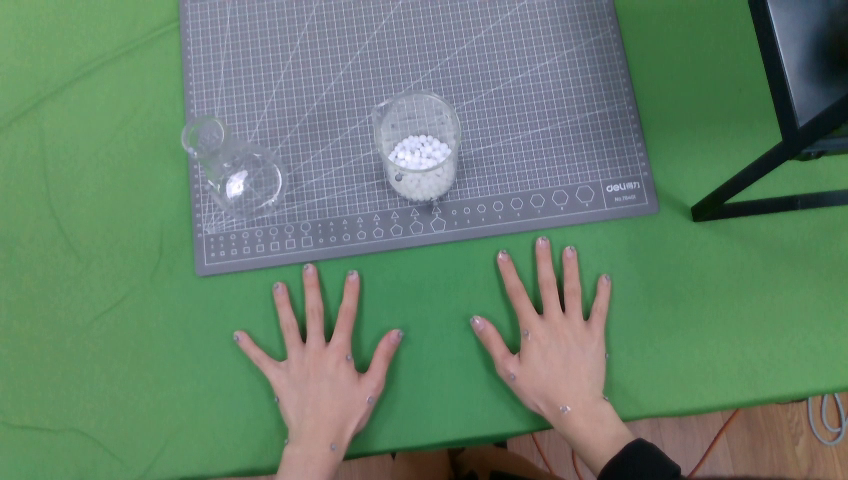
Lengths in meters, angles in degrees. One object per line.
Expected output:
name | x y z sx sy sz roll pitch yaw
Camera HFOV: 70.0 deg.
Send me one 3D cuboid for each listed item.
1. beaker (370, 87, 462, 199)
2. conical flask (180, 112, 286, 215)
beaker | -0.008 -0.084 0.551 0.084 0.101 0.074 29 79 8
conical flask | -0.174 -0.072 0.539 0.075 0.122 0.075 0 78 1
